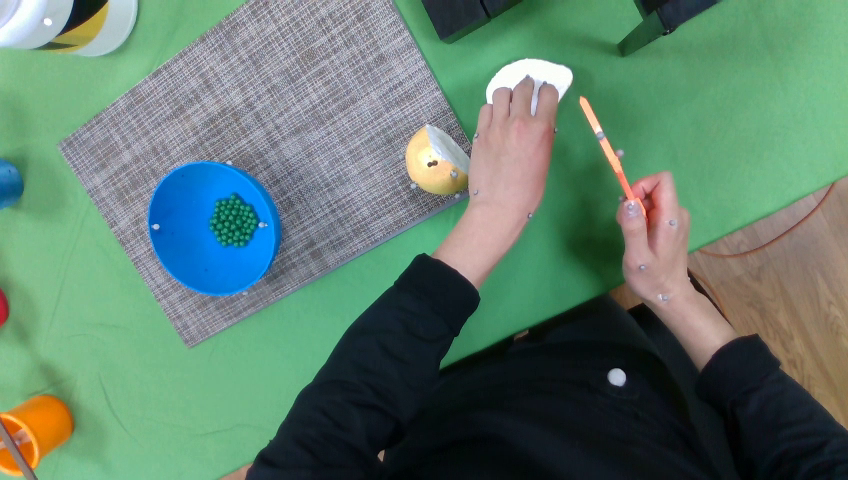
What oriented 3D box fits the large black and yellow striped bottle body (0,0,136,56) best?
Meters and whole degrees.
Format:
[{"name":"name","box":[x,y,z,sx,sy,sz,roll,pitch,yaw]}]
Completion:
[{"name":"large black and yellow striped bottle body","box":[-0.406,-0.262,0.619,0.130,0.183,0.131,2,103,10]}]

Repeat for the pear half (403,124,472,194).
[{"name":"pear half","box":[0.007,-0.076,0.621,0.076,0.110,0.056,43,108,3]}]

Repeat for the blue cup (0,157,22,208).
[{"name":"blue cup","box":[-0.555,-0.067,0.737,0.092,0.100,0.093,2,104,9]}]

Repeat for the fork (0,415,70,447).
[{"name":"fork","box":[-0.588,0.277,0.802,0.208,0.018,0.028,-17,114,-30]}]

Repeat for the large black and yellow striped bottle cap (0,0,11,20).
[{"name":"large black and yellow striped bottle cap","box":[-0.421,-0.245,0.538,0.115,0.019,0.115,3,105,11]}]

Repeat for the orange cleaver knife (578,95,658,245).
[{"name":"orange cleaver knife","box":[0.177,-0.055,0.547,0.012,0.213,0.076,-28,57,17]}]

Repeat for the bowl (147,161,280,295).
[{"name":"bowl","box":[-0.226,-0.019,0.695,0.151,0.076,0.152,2,104,10]}]

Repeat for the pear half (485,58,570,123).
[{"name":"pear half","box":[0.108,-0.151,0.625,0.088,0.031,0.070,-18,77,8]}]

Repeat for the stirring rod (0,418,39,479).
[{"name":"stirring rod","box":[-0.547,0.247,0.786,0.014,0.006,0.176,-24,99,13]}]
